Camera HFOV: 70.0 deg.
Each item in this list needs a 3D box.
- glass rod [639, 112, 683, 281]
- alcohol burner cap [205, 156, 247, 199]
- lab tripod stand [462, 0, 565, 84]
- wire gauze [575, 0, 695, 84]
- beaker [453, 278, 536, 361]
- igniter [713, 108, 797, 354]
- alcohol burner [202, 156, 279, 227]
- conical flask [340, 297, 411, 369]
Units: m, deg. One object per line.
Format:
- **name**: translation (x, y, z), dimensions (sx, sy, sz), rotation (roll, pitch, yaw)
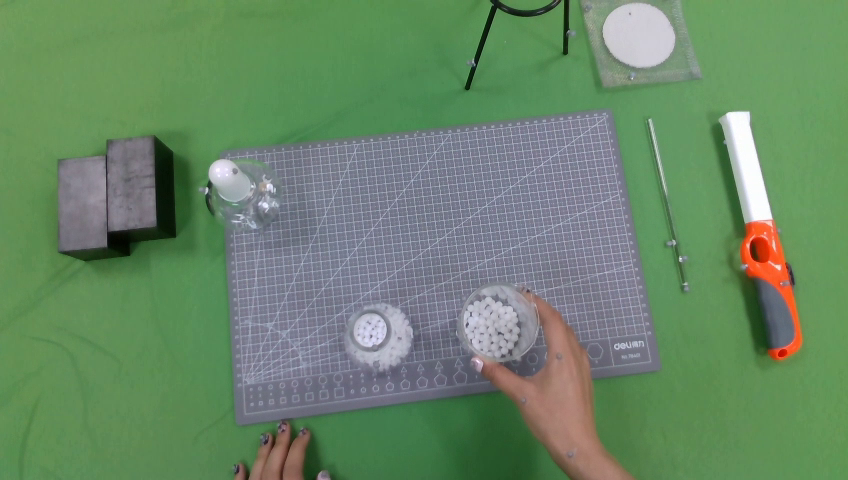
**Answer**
- **glass rod**: translation (0.267, -0.051, 0.683), dimensions (0.008, 0.008, 0.199), rotation (-9, 80, -3)
- **alcohol burner cap**: translation (-0.192, -0.063, 0.582), dimensions (0.034, 0.048, 0.033), rotation (1, 71, -2)
- **lab tripod stand**: translation (0.092, -0.248, 0.653), dimensions (0.148, 0.132, 0.148), rotation (0, 81, -1)
- **wire gauze**: translation (0.251, -0.245, 0.720), dimensions (0.125, 0.011, 0.121), rotation (-8, 80, -5)
- **beaker**: translation (0.068, 0.079, 0.606), dimensions (0.074, 0.100, 0.084), rotation (41, 80, 6)
- **igniter**: translation (0.365, -0.014, 0.669), dimensions (0.057, 0.025, 0.275), rotation (-5, 79, -13)
- **alcohol burner**: translation (-0.192, -0.054, 0.617), dimensions (0.078, 0.119, 0.077), rotation (0, 80, 1)
- **conical flask**: translation (-0.051, 0.088, 0.590), dimensions (0.075, 0.122, 0.075), rotation (0, 79, 0)
